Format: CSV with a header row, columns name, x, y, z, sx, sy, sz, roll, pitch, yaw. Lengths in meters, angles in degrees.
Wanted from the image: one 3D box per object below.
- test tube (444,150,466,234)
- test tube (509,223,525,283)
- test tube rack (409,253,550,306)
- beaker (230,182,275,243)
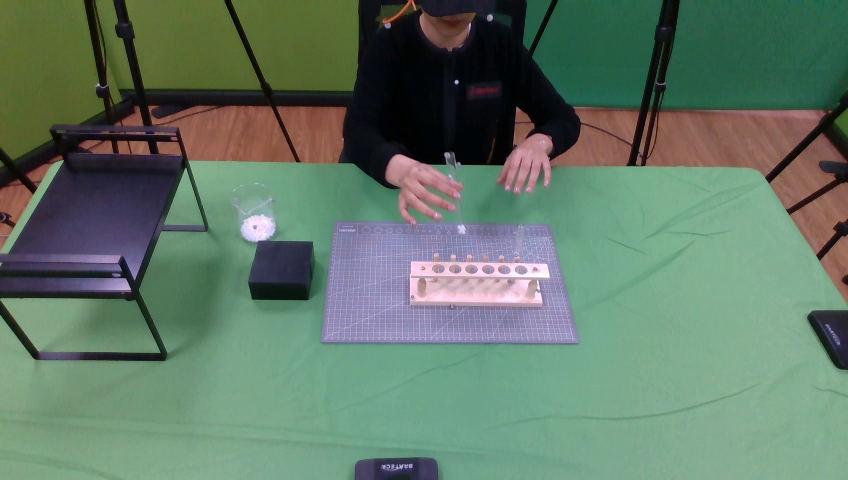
name,x,y,z,sx,sy,sz,roll,pitch,yaw
test tube,0.052,-0.077,1.006,0.017,0.151,0.017,-9,27,5
test tube,0.165,0.024,1.077,0.017,0.151,0.017,0,47,1
test tube rack,0.095,0.067,1.093,0.242,0.085,0.066,1,46,-3
beaker,-0.328,-0.049,1.166,0.074,0.101,0.083,2,47,-2
